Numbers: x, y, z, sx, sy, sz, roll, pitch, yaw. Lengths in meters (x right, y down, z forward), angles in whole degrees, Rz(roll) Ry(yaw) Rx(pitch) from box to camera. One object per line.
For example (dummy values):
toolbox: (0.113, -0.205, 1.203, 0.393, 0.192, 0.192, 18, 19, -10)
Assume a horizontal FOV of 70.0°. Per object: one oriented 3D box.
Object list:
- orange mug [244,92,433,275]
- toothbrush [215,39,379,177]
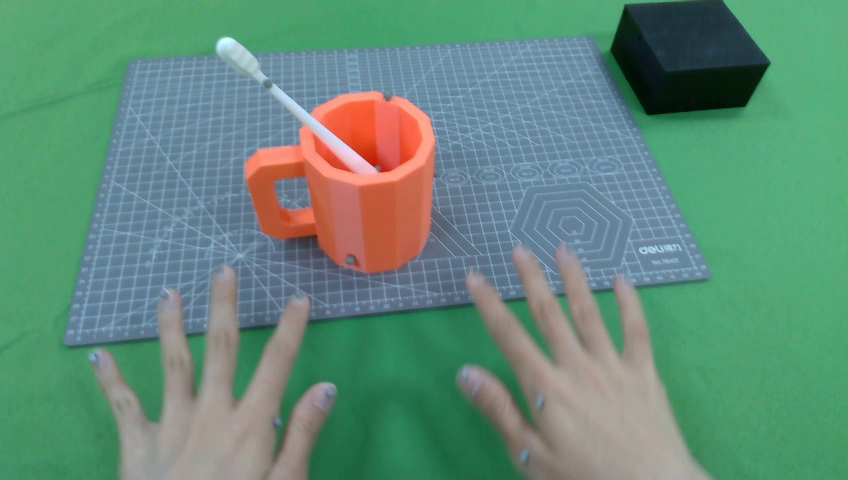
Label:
orange mug: (-0.056, -0.035, 0.418, 0.126, 0.101, 0.082, -6, 54, -13)
toothbrush: (-0.058, -0.061, 0.389, 0.016, 0.184, 0.014, 17, 71, 47)
